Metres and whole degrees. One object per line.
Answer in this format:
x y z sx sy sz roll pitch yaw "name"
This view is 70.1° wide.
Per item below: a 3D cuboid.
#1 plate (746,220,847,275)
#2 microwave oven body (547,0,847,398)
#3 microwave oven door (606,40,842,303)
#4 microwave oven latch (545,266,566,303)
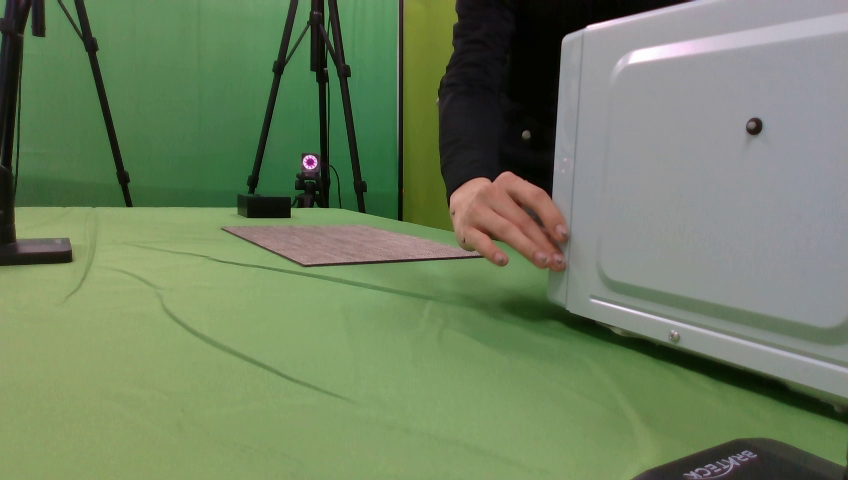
0.408 0.008 0.552 0.209 0.038 0.209 3 6 0 "plate"
0.379 -0.045 0.509 0.444 0.260 0.324 -2 8 -31 "microwave oven body"
0.341 -0.070 0.654 0.358 0.243 0.039 -3 9 -31 "microwave oven door"
0.148 0.038 0.556 0.079 0.029 0.030 -2 8 -29 "microwave oven latch"
